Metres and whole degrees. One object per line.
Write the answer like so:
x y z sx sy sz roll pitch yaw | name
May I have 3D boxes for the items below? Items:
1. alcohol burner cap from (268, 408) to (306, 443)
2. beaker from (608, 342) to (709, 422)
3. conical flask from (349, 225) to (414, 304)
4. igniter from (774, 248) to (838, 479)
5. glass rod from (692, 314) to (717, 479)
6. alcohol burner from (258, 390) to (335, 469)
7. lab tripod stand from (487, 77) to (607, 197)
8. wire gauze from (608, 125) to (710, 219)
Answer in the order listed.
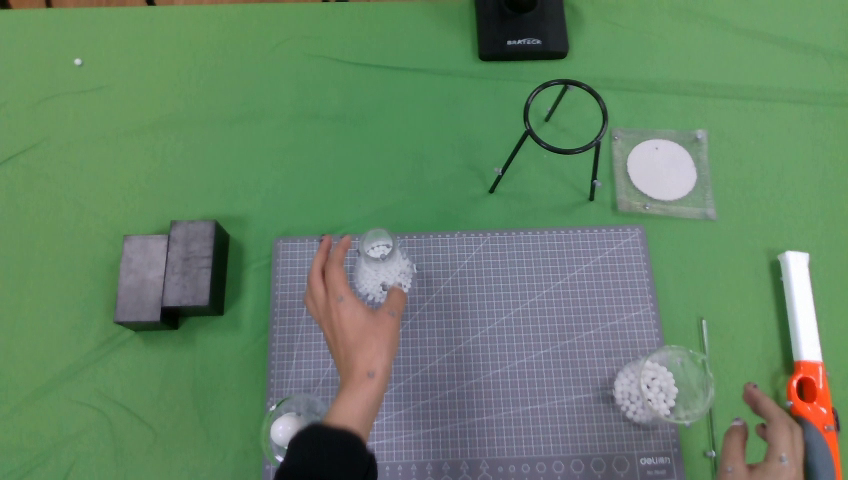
-0.131 0.176 0.572 0.034 0.048 0.033 1 75 -3 | alcohol burner cap
0.241 0.149 0.632 0.084 0.101 0.073 -37 76 -13 | beaker
-0.049 0.021 0.657 0.075 0.122 0.075 0 71 0 | conical flask
0.425 0.143 0.677 0.057 0.025 0.275 7 72 -10 | igniter
0.313 0.180 0.674 0.008 0.008 0.198 2 72 0 | glass rod
-0.131 0.188 0.606 0.078 0.120 0.077 0 71 2 | alcohol burner
0.146 -0.112 0.701 0.148 0.132 0.147 0 73 0 | lab tripod stand
0.296 -0.089 0.762 0.125 0.011 0.120 4 72 -1 | wire gauze
